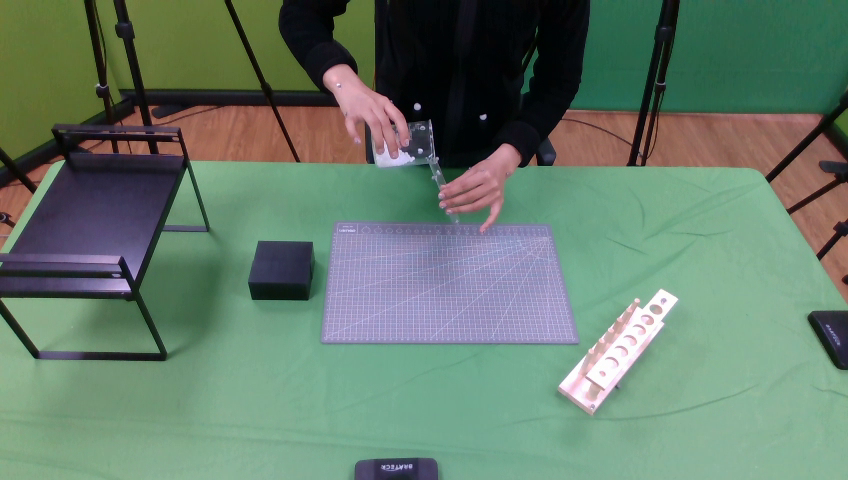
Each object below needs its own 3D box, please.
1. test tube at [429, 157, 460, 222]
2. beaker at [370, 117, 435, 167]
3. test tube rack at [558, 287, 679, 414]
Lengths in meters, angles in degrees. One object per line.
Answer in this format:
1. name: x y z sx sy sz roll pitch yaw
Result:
1. test tube: 0.037 -0.086 1.073 0.017 0.151 0.017 -13 44 13
2. beaker: -0.035 -0.157 0.995 0.100 0.084 0.073 -6 48 1
3. test tube rack: 0.326 0.170 1.009 0.066 0.085 0.242 35 54 26
